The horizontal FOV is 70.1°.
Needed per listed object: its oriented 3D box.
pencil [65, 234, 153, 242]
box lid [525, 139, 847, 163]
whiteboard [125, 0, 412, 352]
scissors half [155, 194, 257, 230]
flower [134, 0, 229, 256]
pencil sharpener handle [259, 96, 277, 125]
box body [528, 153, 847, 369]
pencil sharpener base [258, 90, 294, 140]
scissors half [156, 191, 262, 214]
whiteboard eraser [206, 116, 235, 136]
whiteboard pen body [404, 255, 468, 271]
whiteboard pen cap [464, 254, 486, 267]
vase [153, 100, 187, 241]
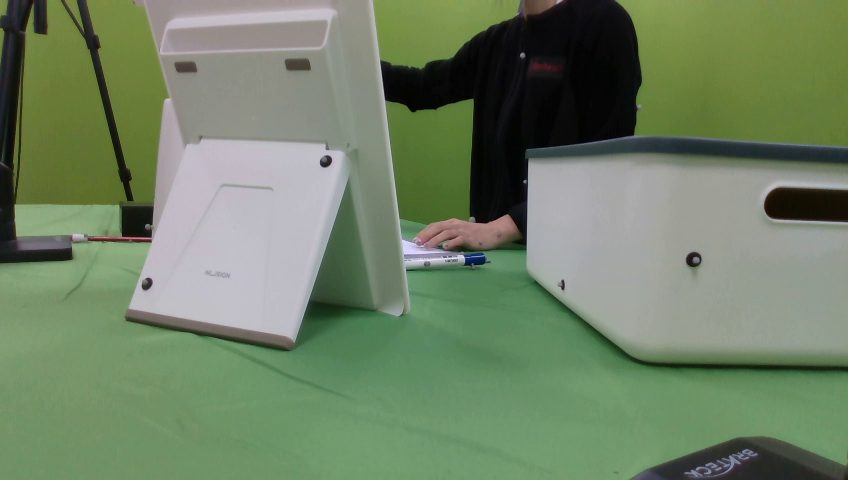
[{"bbox_3d":[-0.429,-0.001,0.911,0.195,0.012,0.012,1,8,-20],"label":"pencil"},{"bbox_3d":[0.261,-0.078,0.580,0.264,0.015,0.371,2,7,-4],"label":"box lid"},{"bbox_3d":[-0.151,-0.049,0.472,0.216,0.305,0.144,6,27,24],"label":"whiteboard"},{"bbox_3d":[-0.378,-0.051,1.059,0.176,0.040,0.012,20,22,-31],"label":"scissors half"},{"bbox_3d":[-0.282,-0.146,0.713,0.038,0.362,0.044,-23,23,-31],"label":"flower"},{"bbox_3d":[-0.373,-0.304,1.425,0.036,0.067,0.030,12,0,-38],"label":"pencil sharpener handle"},{"bbox_3d":[0.258,-0.005,0.591,0.254,0.160,0.363,2,7,-4],"label":"box body"},{"bbox_3d":[-0.341,-0.286,1.388,0.062,0.107,0.076,-3,9,-37],"label":"pencil sharpener base"},{"bbox_3d":[-0.371,-0.069,1.051,0.176,0.040,0.013,2,25,-24],"label":"scissors half"},{"bbox_3d":[-0.449,-0.251,1.335,0.056,0.042,0.112,1,7,-22],"label":"whiteboard eraser"},{"bbox_3d":[0.013,0.030,0.792,0.141,0.017,0.017,-3,9,-24],"label":"whiteboard pen body"},{"bbox_3d":[0.066,0.027,0.818,0.033,0.018,0.018,-5,10,-24],"label":"whiteboard pen cap"},{"bbox_3d":[-0.278,-0.066,0.736,0.098,0.200,0.098,2,9,0],"label":"vase"}]
